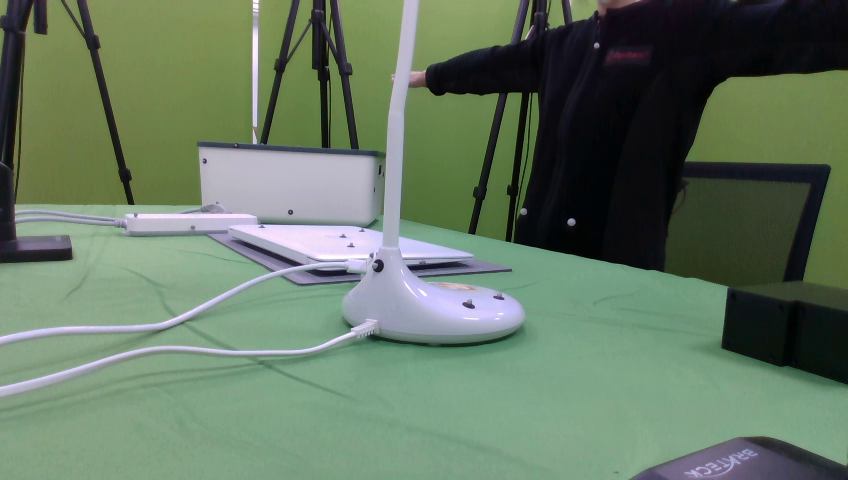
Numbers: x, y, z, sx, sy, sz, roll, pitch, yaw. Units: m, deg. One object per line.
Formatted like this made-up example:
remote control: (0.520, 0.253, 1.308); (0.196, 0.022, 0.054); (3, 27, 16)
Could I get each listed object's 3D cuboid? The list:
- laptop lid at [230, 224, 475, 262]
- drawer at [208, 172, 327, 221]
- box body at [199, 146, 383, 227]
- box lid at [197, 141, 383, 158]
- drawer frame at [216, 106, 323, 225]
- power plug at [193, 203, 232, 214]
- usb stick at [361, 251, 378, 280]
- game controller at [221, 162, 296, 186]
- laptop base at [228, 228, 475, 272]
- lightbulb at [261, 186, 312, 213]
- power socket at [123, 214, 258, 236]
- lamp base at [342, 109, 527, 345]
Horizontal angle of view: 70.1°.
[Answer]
laptop lid: (-0.119, 0.000, 0.889); (0.243, 0.013, 0.355); (1, 7, -33)
drawer: (-0.334, -0.101, 1.326); (0.212, 0.073, 0.194); (8, 11, -1)
box body: (-0.276, -0.124, 1.334); (0.364, 0.160, 0.254); (3, 7, 1)
box lid: (-0.275, -0.197, 1.326); (0.372, 0.015, 0.263); (4, 7, 1)
drawer frame: (-0.311, -0.142, 1.311); (0.082, 0.213, 0.202); (21, -18, 29)
power plug: (-0.394, -0.042, 1.139); (0.072, 0.052, 0.035); (-13, 2, 31)
usb stick: (-0.051, 0.033, 0.656); (0.027, 0.021, 0.059); (4, -27, -21)
game controller: (-0.362, -0.142, 1.315); (0.156, 0.051, 0.096); (0, 3, -23)
laptop base: (-0.122, 0.011, 0.889); (0.237, 0.023, 0.352); (1, 6, -35)
lightbulb: (-0.294, -0.082, 1.293); (0.108, 0.059, 0.059); (-14, 13, -20)
power socket: (-0.398, -0.028, 1.049); (0.228, 0.032, 0.072); (-3, 8, -34)
lamp base: (0.006, -0.015, 0.505); (0.160, 0.180, 0.180); (6, 11, 29)
